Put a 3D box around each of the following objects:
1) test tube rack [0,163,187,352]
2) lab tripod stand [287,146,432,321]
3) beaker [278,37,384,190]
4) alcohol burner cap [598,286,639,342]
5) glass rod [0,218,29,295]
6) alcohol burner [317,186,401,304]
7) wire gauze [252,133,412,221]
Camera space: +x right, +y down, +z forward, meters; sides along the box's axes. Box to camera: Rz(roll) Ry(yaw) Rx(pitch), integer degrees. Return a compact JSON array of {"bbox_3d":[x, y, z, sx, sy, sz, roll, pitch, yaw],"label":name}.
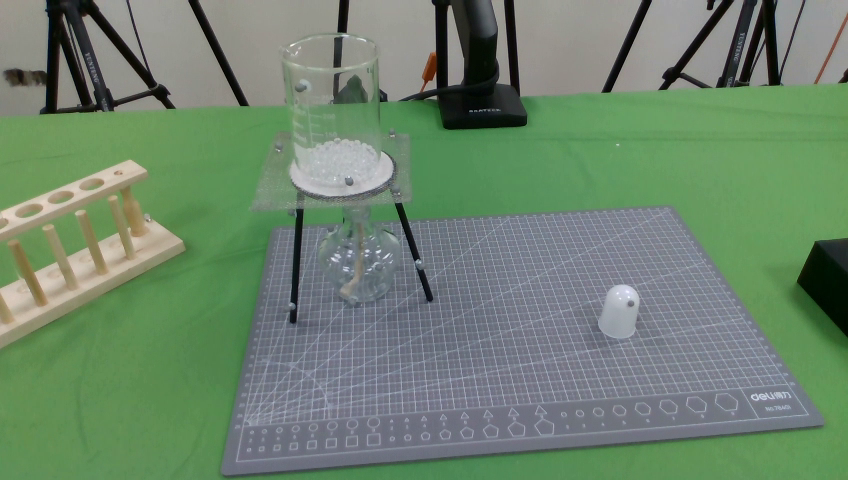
[{"bbox_3d":[-0.351,0.023,0.551,0.066,0.086,0.242,27,45,32],"label":"test tube rack"},{"bbox_3d":[-0.063,-0.007,0.544,0.148,0.132,0.147,1,36,0],"label":"lab tripod stand"},{"bbox_3d":[-0.072,-0.098,0.473,0.083,0.101,0.074,22,42,24],"label":"beaker"},{"bbox_3d":[0.171,0.061,0.527,0.034,0.048,0.033,0,38,1],"label":"alcohol burner cap"},{"bbox_3d":[-0.374,-0.036,0.519,0.008,0.201,0.008,0,30,0],"label":"glass rod"},{"bbox_3d":[-0.060,0.001,0.550,0.078,0.120,0.077,1,39,0],"label":"alcohol burner"},{"bbox_3d":[-0.072,-0.058,0.501,0.121,0.011,0.124,-2,39,-2],"label":"wire gauze"}]
